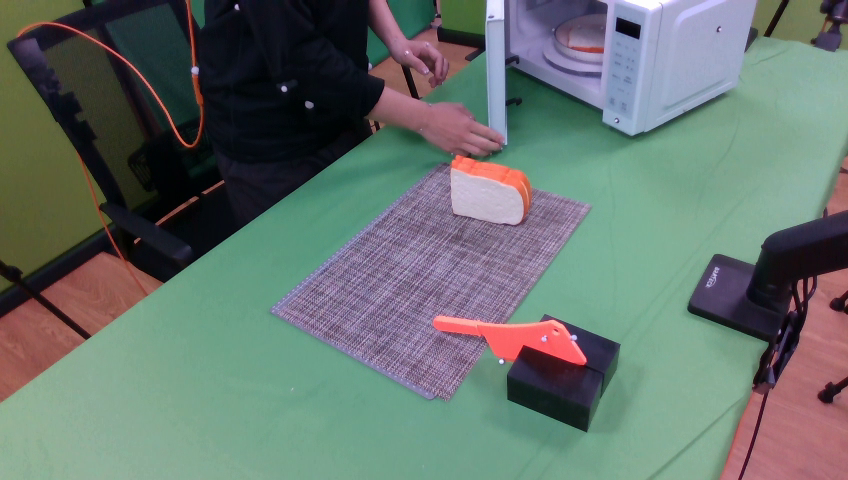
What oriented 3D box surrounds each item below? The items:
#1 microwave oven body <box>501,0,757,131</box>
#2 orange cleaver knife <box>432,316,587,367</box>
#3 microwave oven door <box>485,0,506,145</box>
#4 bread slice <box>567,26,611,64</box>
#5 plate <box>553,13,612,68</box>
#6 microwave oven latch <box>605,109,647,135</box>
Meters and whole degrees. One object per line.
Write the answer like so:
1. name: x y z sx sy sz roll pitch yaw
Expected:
1. microwave oven body: 0.396 -0.448 1.248 0.327 0.261 0.437 -27 44 -21
2. orange cleaver knife: 0.101 0.127 0.761 0.210 0.077 0.012 -1 34 40
3. microwave oven door: 0.143 -0.387 1.205 0.039 0.245 0.354 -1 41 7
4. bread slice: 0.363 -0.427 1.326 0.107 0.018 0.133 1 50 3
5. plate: 0.385 -0.428 1.314 0.207 0.039 0.206 -2 45 3
6. microwave oven latch: 0.378 -0.225 1.139 0.030 0.029 0.078 -26 43 -19
